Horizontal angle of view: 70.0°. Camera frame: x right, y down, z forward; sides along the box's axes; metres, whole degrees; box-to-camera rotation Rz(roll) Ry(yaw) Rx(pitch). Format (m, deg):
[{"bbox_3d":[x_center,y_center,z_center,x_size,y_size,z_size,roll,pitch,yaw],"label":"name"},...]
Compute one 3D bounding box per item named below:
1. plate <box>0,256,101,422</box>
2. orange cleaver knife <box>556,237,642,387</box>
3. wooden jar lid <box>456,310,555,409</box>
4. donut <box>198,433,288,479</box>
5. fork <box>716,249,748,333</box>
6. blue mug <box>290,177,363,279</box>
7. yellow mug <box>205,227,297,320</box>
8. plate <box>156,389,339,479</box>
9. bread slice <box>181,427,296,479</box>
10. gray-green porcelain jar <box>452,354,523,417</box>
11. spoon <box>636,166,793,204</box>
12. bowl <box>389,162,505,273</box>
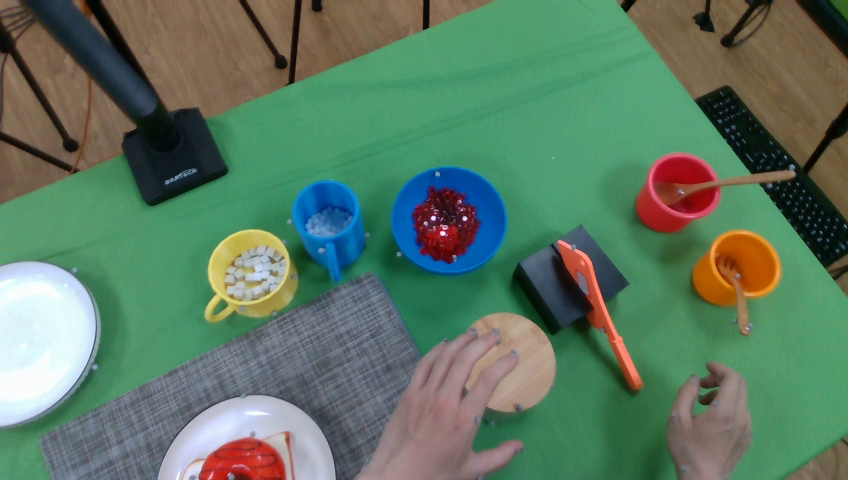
[{"bbox_3d":[-0.508,0.123,0.759,0.208,0.039,0.206,1,69,-2],"label":"plate"},{"bbox_3d":[0.221,0.091,0.771,0.012,0.077,0.212,-29,102,-11],"label":"orange cleaver knife"},{"bbox_3d":[0.088,0.130,0.662,0.108,0.021,0.107,2,70,-4],"label":"wooden jar lid"},{"bbox_3d":[-0.202,0.268,0.680,0.099,0.048,0.098,2,69,-4],"label":"donut"},{"bbox_3d":[0.384,0.058,0.752,0.028,0.019,0.207,34,28,4],"label":"fork"},{"bbox_3d":[-0.122,-0.006,0.784,0.082,0.106,0.115,-7,70,-4],"label":"blue mug"},{"bbox_3d":[-0.230,0.052,0.779,0.099,0.064,0.130,38,74,12],"label":"yellow mug"},{"bbox_3d":[-0.201,0.281,0.705,0.209,0.038,0.207,1,69,-1],"label":"plate"},{"bbox_3d":[-0.214,0.287,0.707,0.132,0.019,0.104,-13,70,-10],"label":"bread slice"},{"bbox_3d":[0.087,0.153,0.720,0.106,0.127,0.105,1,69,-2],"label":"gray-green porcelain jar"},{"bbox_3d":[0.379,-0.077,0.805,0.022,0.193,0.041,37,58,-36],"label":"spoon"},{"bbox_3d":[0.029,-0.019,0.808,0.151,0.077,0.150,1,70,-1],"label":"bowl"}]
